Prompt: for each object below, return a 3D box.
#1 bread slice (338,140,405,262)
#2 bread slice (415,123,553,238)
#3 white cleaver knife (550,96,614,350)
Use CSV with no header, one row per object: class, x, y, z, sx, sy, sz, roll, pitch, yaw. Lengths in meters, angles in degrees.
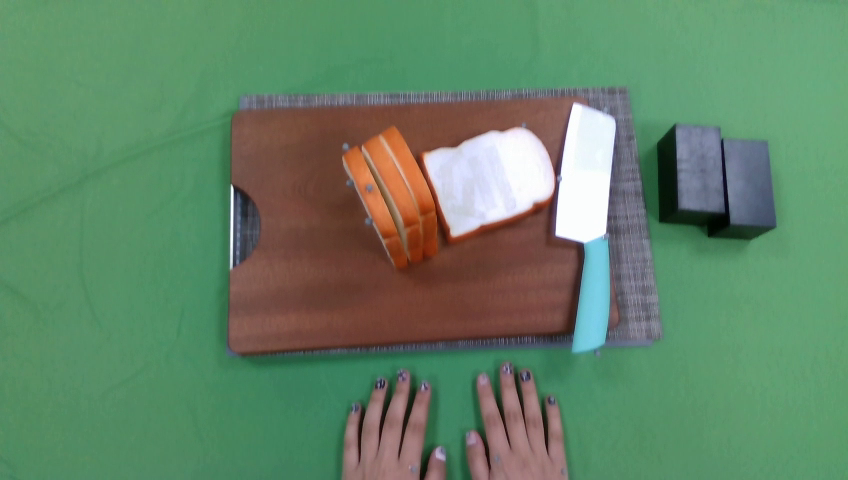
bread slice,-0.051,-0.037,0.581,0.019,0.132,0.104,-26,77,-4
bread slice,0.068,-0.069,0.646,0.134,0.018,0.106,-15,80,-3
white cleaver knife,0.166,-0.024,0.646,0.066,0.021,0.284,10,71,-5
